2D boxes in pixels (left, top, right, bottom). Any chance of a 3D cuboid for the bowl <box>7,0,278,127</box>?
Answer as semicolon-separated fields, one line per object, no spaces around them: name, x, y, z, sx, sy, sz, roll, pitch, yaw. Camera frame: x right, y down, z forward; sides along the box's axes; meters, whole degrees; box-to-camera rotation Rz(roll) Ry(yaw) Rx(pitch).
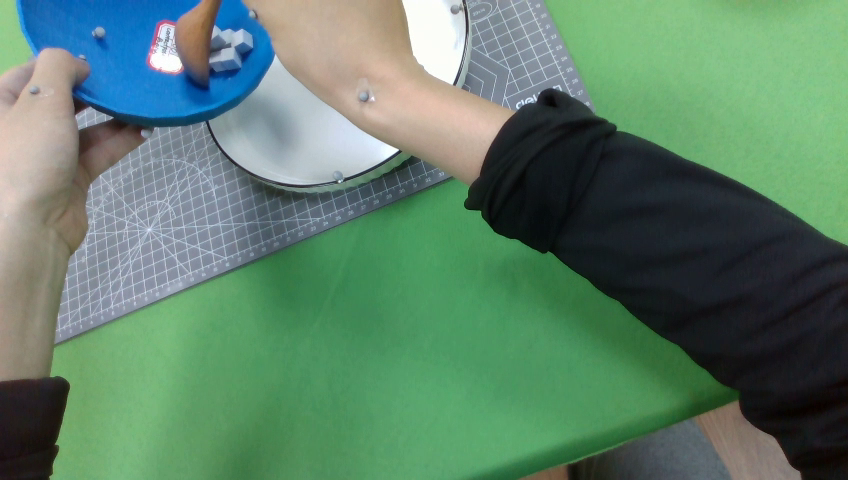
bowl;-0.176;-0.135;0.401;0.152;0.077;0.150;4;77;-16

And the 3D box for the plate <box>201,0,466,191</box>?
plate;-0.068;-0.129;0.446;0.208;0.038;0.208;-5;71;15

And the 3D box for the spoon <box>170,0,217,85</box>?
spoon;-0.119;-0.143;0.335;0.021;0.193;0.041;-27;87;-35

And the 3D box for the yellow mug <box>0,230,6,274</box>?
yellow mug;-0.410;0.032;0.487;0.099;0.064;0.130;0;73;17
